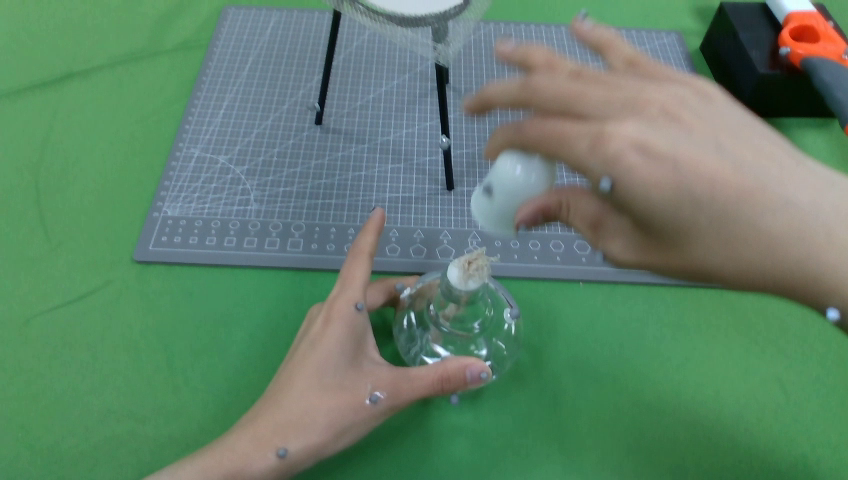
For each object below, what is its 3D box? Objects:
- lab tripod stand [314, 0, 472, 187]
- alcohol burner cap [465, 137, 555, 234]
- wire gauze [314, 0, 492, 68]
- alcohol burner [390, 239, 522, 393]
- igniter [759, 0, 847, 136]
[{"bbox_3d":[-0.012,-0.130,0.449,0.148,0.132,0.147,3,54,-4],"label":"lab tripod stand"},{"bbox_3d":[0.041,-0.027,0.275,0.034,0.048,0.033,6,61,-12],"label":"alcohol burner cap"},{"bbox_3d":[-0.012,-0.171,0.396,0.124,0.011,0.121,26,57,12],"label":"wire gauze"},{"bbox_3d":[0.019,0.041,0.345,0.078,0.120,0.077,0,54,0],"label":"alcohol burner"},{"bbox_3d":[0.324,-0.184,0.523,0.057,0.025,0.273,-2,52,-1],"label":"igniter"}]
